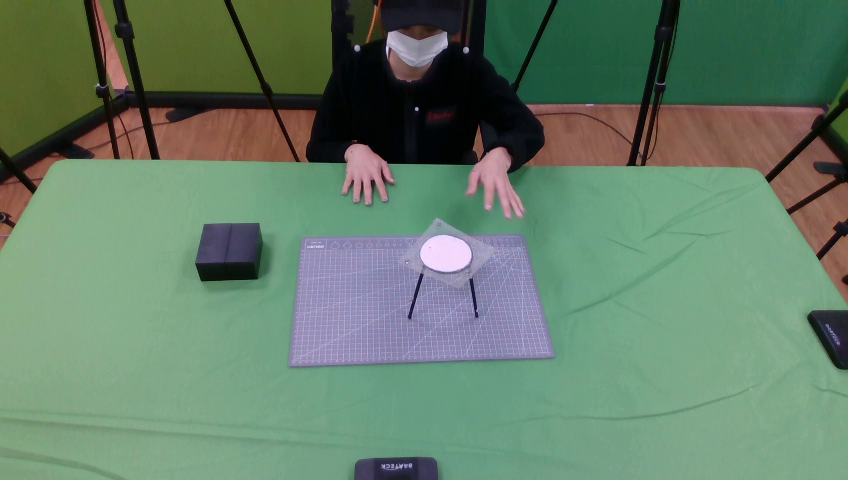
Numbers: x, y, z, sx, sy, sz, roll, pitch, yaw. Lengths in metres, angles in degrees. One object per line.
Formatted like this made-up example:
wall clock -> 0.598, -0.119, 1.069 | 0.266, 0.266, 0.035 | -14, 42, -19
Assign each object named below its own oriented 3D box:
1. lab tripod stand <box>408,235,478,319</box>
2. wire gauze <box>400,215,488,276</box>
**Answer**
lab tripod stand -> 0.032, 0.065, 1.057 | 0.148, 0.132, 0.147 | 1, 45, -1
wire gauze -> 0.035, 0.004, 1.000 | 0.125, 0.011, 0.121 | 7, 49, 13
